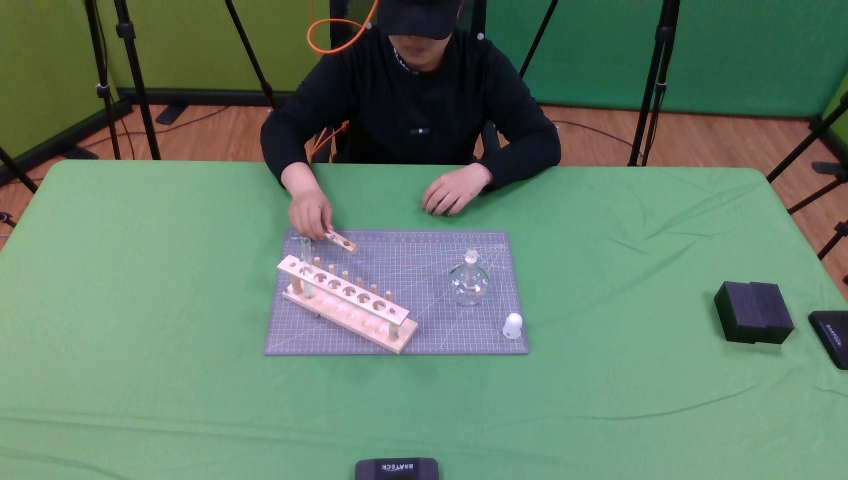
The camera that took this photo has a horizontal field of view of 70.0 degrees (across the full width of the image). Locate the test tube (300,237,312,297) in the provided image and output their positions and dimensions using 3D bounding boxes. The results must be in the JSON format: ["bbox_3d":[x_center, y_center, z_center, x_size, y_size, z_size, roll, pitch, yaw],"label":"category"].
[{"bbox_3d":[-0.198,0.049,1.019,0.017,0.151,0.017,4,49,-5],"label":"test tube"}]

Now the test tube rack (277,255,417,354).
[{"bbox_3d":[-0.131,0.099,1.045,0.241,0.085,0.066,23,49,17],"label":"test tube rack"}]

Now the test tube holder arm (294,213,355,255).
[{"bbox_3d":[-0.193,-0.014,1.158,0.177,0.015,0.013,27,62,34],"label":"test tube holder arm"}]

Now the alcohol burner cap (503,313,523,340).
[{"bbox_3d":[0.156,0.147,1.051,0.034,0.048,0.033,1,45,-1],"label":"alcohol burner cap"}]

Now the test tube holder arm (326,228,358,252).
[{"bbox_3d":[-0.156,0.000,1.134,0.087,0.015,0.010,28,63,35],"label":"test tube holder arm"}]

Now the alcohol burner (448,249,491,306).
[{"bbox_3d":[0.081,0.062,1.078,0.078,0.120,0.077,1,45,-1],"label":"alcohol burner"}]
